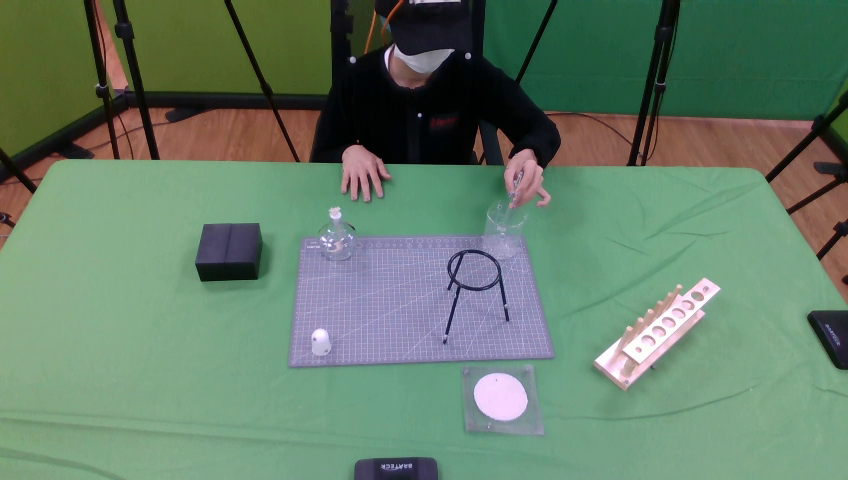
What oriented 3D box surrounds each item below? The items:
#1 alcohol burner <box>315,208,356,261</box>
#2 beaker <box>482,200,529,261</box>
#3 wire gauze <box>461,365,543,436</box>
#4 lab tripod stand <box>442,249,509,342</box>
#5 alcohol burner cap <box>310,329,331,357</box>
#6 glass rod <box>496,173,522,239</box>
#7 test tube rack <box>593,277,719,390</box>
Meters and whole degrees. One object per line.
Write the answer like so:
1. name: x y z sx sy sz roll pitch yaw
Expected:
1. alcohol burner: -0.166 -0.017 1.134 0.078 0.119 0.077 2 48 -2
2. beaker: 0.153 -0.015 1.169 0.084 0.101 0.073 -2 46 -7
3. wire gauze: 0.124 0.254 0.973 0.125 0.011 0.120 3 47 -3
4. lab tripod stand: 0.082 0.090 1.036 0.148 0.132 0.147 3 44 -3
5. alcohol burner cap: -0.173 0.168 1.004 0.034 0.048 0.033 2 46 -2
6. glass rod: 0.156 -0.059 1.131 0.008 0.200 0.008 3 56 -5
7. test tube rack: 0.401 0.148 1.043 0.242 0.085 0.066 -30 55 -29
